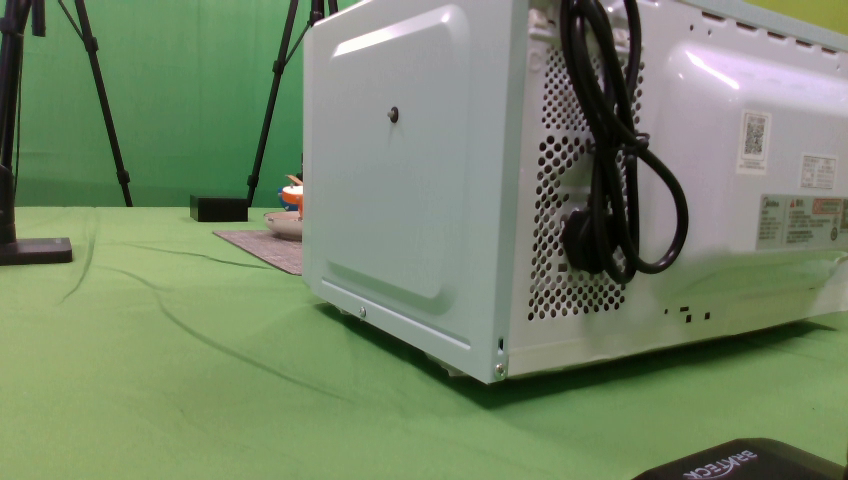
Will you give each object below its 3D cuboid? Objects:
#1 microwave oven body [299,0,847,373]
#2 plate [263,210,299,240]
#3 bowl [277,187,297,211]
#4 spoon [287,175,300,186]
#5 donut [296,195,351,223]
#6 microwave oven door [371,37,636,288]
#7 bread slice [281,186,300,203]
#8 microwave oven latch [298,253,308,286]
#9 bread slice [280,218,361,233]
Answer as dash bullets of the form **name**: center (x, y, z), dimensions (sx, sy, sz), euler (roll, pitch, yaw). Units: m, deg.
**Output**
- **microwave oven body**: center (0.152, -0.055, 0.542), dimensions (0.444, 0.260, 0.324), euler (-2, 7, -33)
- **plate**: center (-0.180, -0.026, 1.079), dimensions (0.208, 0.039, 0.207), euler (3, 7, 0)
- **bowl**: center (-0.241, -0.073, 1.303), dimensions (0.151, 0.077, 0.151), euler (2, 7, 0)
- **spoon**: center (-0.262, -0.110, 1.342), dimensions (0.042, 0.021, 0.192), euler (-7, 33, -33)
- **donut**: center (-0.179, -0.056, 1.079), dimensions (0.099, 0.048, 0.099), euler (4, 4, 0)
- **microwave oven door**: center (0.109, -0.080, 0.686), dimensions (0.358, 0.243, 0.039), euler (-2, 9, -33)
- **bread slice**: center (-0.185, -0.082, 1.071), dimensions (0.132, 0.019, 0.104), euler (-2, 14, -18)
- **microwave oven latch**: center (-0.081, 0.027, 0.582), dimensions (0.079, 0.029, 0.030), euler (-1, 7, -32)
- **bread slice**: center (-0.187, -0.026, 1.075), dimensions (0.135, 0.018, 0.106), euler (-1, 7, -22)
